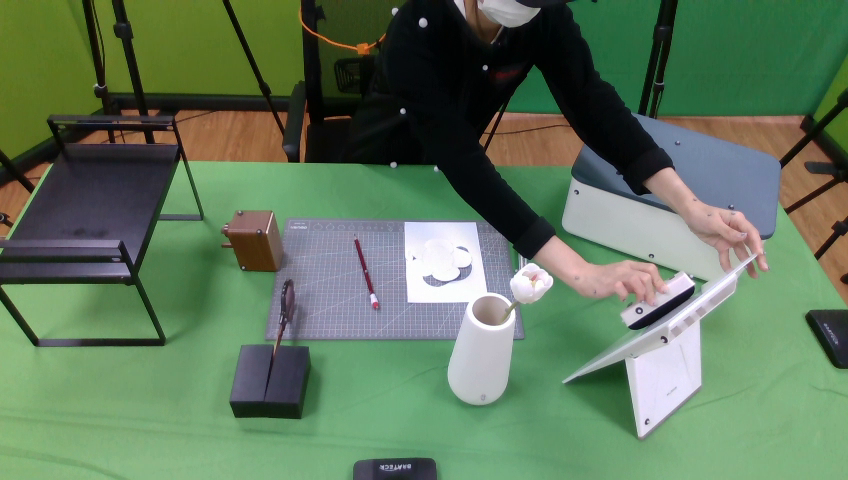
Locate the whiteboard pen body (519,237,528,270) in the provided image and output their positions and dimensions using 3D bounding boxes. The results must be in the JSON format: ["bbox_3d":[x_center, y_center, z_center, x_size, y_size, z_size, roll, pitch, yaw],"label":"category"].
[{"bbox_3d":[0.193,0.034,1.180,0.017,0.017,0.140,6,49,1],"label":"whiteboard pen body"}]

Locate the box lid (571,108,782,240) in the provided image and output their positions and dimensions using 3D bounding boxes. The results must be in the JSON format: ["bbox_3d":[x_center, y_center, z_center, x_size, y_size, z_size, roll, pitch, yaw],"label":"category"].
[{"bbox_3d":[0.491,-0.139,1.168,0.370,0.015,0.262,21,49,15],"label":"box lid"}]

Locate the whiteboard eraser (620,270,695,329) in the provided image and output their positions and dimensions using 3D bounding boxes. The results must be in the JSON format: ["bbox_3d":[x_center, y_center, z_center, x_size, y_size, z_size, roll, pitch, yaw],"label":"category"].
[{"bbox_3d":[0.347,0.090,0.897,0.113,0.056,0.041,-39,76,17],"label":"whiteboard eraser"}]

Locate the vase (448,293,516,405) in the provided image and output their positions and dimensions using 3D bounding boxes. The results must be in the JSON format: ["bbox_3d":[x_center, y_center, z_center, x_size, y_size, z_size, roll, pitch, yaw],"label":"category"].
[{"bbox_3d":[0.091,0.169,0.921,0.098,0.201,0.097,3,47,-3],"label":"vase"}]

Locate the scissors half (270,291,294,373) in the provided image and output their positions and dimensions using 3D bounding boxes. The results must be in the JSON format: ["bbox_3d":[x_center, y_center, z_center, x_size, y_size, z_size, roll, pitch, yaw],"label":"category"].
[{"bbox_3d":[-0.237,0.151,1.009,0.013,0.040,0.174,5,38,-2],"label":"scissors half"}]

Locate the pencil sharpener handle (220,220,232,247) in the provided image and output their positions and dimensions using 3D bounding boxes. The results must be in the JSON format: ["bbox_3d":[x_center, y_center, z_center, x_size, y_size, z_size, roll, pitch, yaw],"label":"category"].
[{"bbox_3d":[-0.362,-0.009,1.104,0.030,0.068,0.036,1,52,1],"label":"pencil sharpener handle"}]

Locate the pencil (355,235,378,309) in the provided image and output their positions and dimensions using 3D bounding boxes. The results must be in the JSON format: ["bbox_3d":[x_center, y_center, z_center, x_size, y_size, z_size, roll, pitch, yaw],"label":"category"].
[{"bbox_3d":[-0.112,0.055,1.143,0.012,0.012,0.192,-9,45,-13],"label":"pencil"}]

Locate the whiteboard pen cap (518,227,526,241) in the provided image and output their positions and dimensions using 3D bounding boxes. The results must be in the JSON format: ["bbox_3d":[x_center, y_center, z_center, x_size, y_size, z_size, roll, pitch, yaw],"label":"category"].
[{"bbox_3d":[0.197,-0.009,1.220,0.018,0.018,0.033,5,51,0],"label":"whiteboard pen cap"}]

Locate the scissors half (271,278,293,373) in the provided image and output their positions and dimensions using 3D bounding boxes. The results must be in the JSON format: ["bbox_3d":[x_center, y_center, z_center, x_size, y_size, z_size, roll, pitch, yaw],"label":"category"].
[{"bbox_3d":[-0.236,0.137,0.994,0.013,0.040,0.174,1,55,2],"label":"scissors half"}]

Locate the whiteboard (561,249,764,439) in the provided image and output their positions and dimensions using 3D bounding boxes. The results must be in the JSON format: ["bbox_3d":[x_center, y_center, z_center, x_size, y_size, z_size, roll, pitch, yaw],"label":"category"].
[{"bbox_3d":[0.386,0.176,0.906,0.217,0.306,0.143,-26,73,-27],"label":"whiteboard"}]

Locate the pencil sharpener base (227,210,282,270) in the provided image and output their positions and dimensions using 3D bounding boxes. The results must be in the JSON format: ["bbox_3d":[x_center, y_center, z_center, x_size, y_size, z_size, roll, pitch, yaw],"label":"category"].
[{"bbox_3d":[-0.311,0.001,1.112,0.077,0.107,0.061,1,47,1],"label":"pencil sharpener base"}]

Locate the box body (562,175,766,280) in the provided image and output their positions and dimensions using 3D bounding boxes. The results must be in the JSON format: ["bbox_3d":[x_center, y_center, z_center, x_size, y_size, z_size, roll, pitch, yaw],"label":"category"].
[{"bbox_3d":[0.486,-0.088,1.222,0.363,0.161,0.253,20,48,15],"label":"box body"}]

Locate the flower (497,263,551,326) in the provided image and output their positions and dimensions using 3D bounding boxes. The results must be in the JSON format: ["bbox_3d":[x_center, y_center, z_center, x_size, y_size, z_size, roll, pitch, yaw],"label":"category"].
[{"bbox_3d":[0.103,0.121,0.852,0.044,0.363,0.038,-1,64,-9],"label":"flower"}]
